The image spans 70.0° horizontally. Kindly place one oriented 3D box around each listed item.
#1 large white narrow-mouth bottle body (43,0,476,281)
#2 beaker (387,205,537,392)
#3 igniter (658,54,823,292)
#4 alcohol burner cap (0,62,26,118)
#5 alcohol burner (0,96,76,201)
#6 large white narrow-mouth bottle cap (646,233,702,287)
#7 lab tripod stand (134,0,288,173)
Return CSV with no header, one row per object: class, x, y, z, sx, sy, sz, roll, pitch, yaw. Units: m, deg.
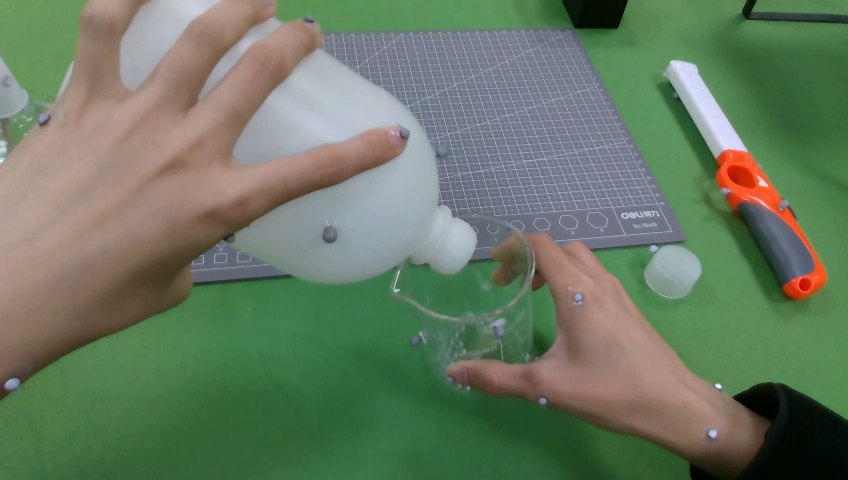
large white narrow-mouth bottle body,-0.059,-0.037,0.291,0.196,0.102,0.101,28,48,-23
beaker,0.026,0.041,0.364,0.084,0.101,0.073,-18,50,-4
igniter,0.268,-0.071,0.529,0.057,0.025,0.273,4,52,-17
alcohol burner cap,-0.288,-0.106,0.395,0.034,0.048,0.033,2,58,-3
alcohol burner,-0.291,-0.084,0.424,0.078,0.120,0.077,4,50,-4
large white narrow-mouth bottle cap,0.189,0.015,0.458,0.038,0.024,0.037,3,52,-3
lab tripod stand,-0.163,-0.146,0.469,0.148,0.132,0.147,4,52,-5
